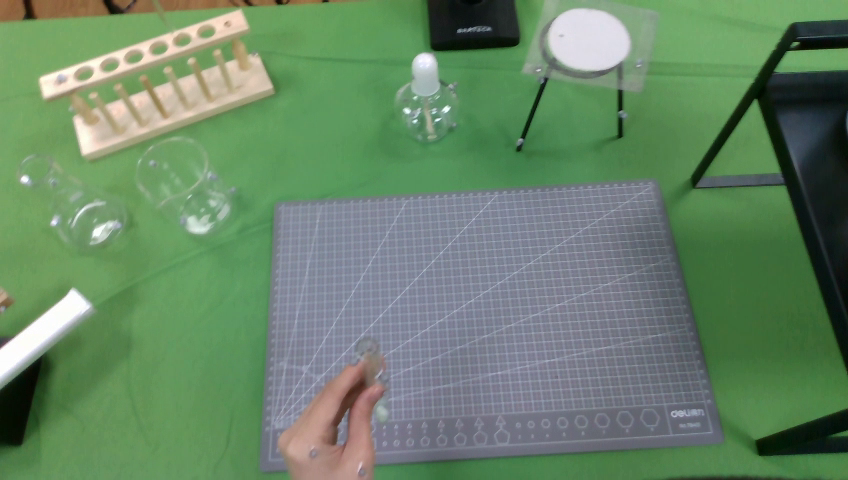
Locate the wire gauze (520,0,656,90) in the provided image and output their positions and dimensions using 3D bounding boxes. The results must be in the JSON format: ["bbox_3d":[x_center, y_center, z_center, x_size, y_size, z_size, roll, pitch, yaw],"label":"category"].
[{"bbox_3d":[0.175,-0.215,0.636,0.121,0.011,0.124,17,67,7],"label":"wire gauze"}]

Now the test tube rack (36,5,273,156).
[{"bbox_3d":[-0.319,-0.192,0.736,0.242,0.086,0.066,-23,66,-9],"label":"test tube rack"}]

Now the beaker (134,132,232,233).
[{"bbox_3d":[-0.260,-0.056,0.664,0.074,0.101,0.083,11,66,7],"label":"beaker"}]

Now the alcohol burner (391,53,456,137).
[{"bbox_3d":[0.000,-0.175,0.707,0.078,0.120,0.077,0,63,0],"label":"alcohol burner"}]

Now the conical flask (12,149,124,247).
[{"bbox_3d":[-0.385,-0.049,0.650,0.075,0.123,0.074,-1,64,1],"label":"conical flask"}]

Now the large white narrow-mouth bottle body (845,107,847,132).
[{"bbox_3d":[0.405,-0.133,0.435,0.102,0.196,0.101,-1,64,3],"label":"large white narrow-mouth bottle body"}]

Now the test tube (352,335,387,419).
[{"bbox_3d":[-0.040,0.111,0.468,0.017,0.151,0.017,0,57,1],"label":"test tube"}]

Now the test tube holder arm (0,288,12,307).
[{"bbox_3d":[-0.449,0.082,0.594,0.010,0.015,0.087,40,71,17],"label":"test tube holder arm"}]

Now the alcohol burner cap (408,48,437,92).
[{"bbox_3d":[-0.002,-0.192,0.674,0.034,0.048,0.033,0,64,1],"label":"alcohol burner cap"}]

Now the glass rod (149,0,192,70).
[{"bbox_3d":[-0.299,-0.255,0.691,0.008,0.201,0.008,-4,59,6],"label":"glass rod"}]

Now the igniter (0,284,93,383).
[{"bbox_3d":[-0.435,0.146,0.560,0.057,0.025,0.276,38,68,15],"label":"igniter"}]

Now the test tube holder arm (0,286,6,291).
[{"bbox_3d":[-0.483,0.109,0.581,0.013,0.015,0.178,38,71,17],"label":"test tube holder arm"}]

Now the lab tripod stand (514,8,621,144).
[{"bbox_3d":[0.169,-0.185,0.696,0.148,0.132,0.147,0,64,0],"label":"lab tripod stand"}]
